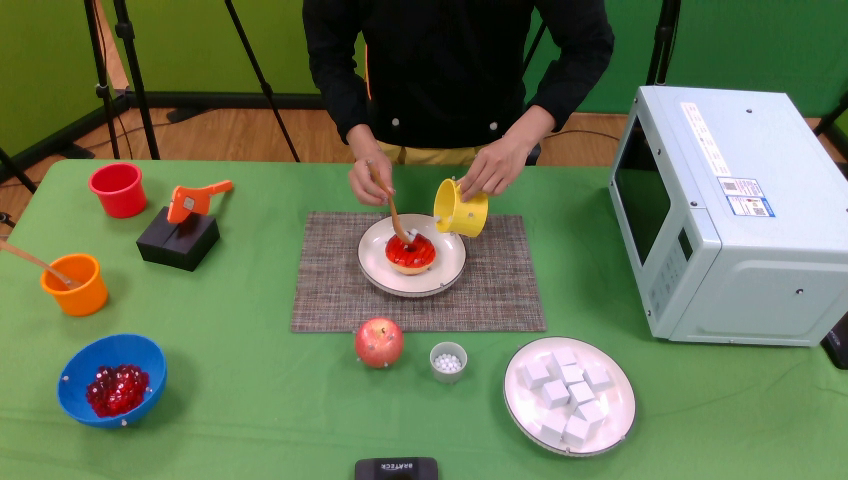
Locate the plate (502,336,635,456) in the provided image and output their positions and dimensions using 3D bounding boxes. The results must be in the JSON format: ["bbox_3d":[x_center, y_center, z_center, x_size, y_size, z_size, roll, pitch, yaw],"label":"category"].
[{"bbox_3d":[0.225,0.248,0.963,0.208,0.039,0.206,2,46,-2],"label":"plate"}]

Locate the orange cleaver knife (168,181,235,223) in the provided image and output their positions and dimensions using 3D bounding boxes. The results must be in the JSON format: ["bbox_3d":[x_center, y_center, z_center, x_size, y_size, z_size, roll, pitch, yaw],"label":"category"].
[{"bbox_3d":[-0.436,-0.078,1.196,0.012,0.077,0.211,16,15,10],"label":"orange cleaver knife"}]

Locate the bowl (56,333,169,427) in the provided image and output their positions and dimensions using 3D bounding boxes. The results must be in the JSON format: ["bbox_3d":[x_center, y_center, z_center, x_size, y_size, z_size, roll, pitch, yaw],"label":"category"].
[{"bbox_3d":[-0.456,0.223,0.911,0.151,0.077,0.150,3,46,-2],"label":"bowl"}]

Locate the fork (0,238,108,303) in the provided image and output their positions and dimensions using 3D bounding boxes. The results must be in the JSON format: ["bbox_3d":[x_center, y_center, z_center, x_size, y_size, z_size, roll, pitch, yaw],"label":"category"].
[{"bbox_3d":[-0.633,0.048,1.017,0.208,0.018,0.028,40,41,-27],"label":"fork"}]

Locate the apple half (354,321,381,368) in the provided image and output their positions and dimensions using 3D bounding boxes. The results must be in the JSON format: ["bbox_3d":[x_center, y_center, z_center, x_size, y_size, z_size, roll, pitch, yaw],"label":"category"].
[{"bbox_3d":[-0.097,0.176,0.985,0.033,0.081,0.080,-12,48,-20],"label":"apple half"}]

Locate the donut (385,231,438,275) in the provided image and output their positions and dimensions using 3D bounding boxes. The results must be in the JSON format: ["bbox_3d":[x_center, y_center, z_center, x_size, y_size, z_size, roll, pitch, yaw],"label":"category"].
[{"bbox_3d":[-0.024,0.024,1.142,0.099,0.048,0.098,2,44,-2],"label":"donut"}]

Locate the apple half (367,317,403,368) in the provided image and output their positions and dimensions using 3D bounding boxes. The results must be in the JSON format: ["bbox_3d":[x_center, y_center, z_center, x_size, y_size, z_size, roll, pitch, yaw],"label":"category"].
[{"bbox_3d":[-0.061,0.167,0.998,0.053,0.075,0.080,-11,44,-20],"label":"apple half"}]

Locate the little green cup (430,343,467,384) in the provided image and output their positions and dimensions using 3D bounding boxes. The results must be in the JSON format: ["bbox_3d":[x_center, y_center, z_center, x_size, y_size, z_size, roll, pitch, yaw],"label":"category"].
[{"bbox_3d":[0.039,0.203,0.993,0.061,0.039,0.061,2,46,-2],"label":"little green cup"}]

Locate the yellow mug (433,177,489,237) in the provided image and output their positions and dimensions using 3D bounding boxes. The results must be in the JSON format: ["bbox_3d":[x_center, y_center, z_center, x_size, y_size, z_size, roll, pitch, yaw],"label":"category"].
[{"bbox_3d":[0.071,-0.068,1.084,0.064,0.131,0.099,8,51,-22],"label":"yellow mug"}]

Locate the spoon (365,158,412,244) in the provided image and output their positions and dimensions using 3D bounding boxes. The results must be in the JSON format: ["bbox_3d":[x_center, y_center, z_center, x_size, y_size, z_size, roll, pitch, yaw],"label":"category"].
[{"bbox_3d":[-0.061,-0.065,1.055,0.021,0.195,0.041,-30,36,-12],"label":"spoon"}]

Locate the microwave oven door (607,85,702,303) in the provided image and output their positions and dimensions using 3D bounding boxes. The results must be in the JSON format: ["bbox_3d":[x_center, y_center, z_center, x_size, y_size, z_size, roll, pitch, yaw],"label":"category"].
[{"bbox_3d":[0.423,-0.094,1.140,0.039,0.245,0.353,2,46,-1],"label":"microwave oven door"}]

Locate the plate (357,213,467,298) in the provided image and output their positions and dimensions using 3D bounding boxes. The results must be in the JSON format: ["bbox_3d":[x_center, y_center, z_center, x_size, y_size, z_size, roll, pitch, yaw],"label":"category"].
[{"bbox_3d":[-0.023,0.032,1.150,0.209,0.038,0.208,2,46,-2],"label":"plate"}]

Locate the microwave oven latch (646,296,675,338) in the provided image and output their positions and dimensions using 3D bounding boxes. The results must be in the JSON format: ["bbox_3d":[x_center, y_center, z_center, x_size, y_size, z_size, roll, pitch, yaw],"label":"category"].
[{"bbox_3d":[0.412,0.134,1.061,0.030,0.029,0.078,4,45,1],"label":"microwave oven latch"}]

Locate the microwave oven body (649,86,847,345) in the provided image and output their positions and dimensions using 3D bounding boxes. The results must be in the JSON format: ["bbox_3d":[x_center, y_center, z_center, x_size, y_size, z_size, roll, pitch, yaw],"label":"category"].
[{"bbox_3d":[0.568,-0.053,1.118,0.326,0.261,0.439,2,45,-1],"label":"microwave oven body"}]
